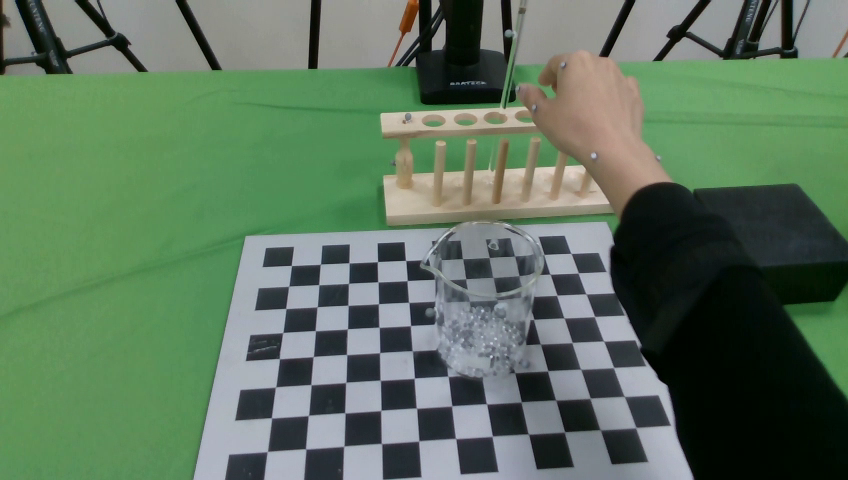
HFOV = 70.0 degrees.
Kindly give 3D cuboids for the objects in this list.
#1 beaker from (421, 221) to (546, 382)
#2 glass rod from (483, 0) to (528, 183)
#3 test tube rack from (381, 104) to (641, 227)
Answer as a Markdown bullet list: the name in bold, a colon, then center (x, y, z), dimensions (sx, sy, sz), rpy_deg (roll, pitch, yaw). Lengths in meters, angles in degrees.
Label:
- **beaker**: center (0.040, 0.048, 0.435), dimensions (0.084, 0.101, 0.073), rpy_deg (-3, 42, -3)
- **glass rod**: center (0.074, -0.137, 0.555), dimensions (0.008, 0.201, 0.008), rpy_deg (5, 38, -4)
- **test tube rack**: center (0.082, -0.072, 0.582), dimensions (0.243, 0.086, 0.066), rpy_deg (-3, 43, -5)
